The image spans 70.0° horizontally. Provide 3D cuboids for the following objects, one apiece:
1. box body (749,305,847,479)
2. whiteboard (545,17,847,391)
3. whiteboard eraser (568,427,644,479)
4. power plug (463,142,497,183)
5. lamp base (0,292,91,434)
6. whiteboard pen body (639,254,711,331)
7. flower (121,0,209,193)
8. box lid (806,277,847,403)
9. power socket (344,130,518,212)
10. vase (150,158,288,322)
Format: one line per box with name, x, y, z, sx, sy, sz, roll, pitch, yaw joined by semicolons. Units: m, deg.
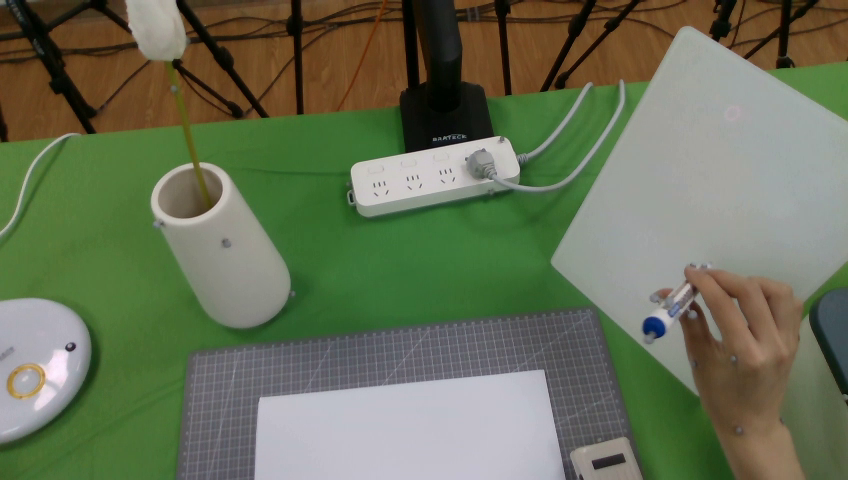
box body;0.468;0.217;0.493;0.254;0.162;0.360;-7;59;-3
whiteboard;0.296;-0.037;0.603;0.144;0.307;0.215;-25;59;-35
whiteboard eraser;0.177;0.234;0.556;0.056;0.042;0.111;-10;59;-7
power plug;0.066;-0.086;0.733;0.035;0.053;0.072;-3;60;0
lamp base;-0.451;0.082;0.581;0.178;0.182;0.160;22;61;17
whiteboard pen body;0.191;0.034;0.448;0.017;0.017;0.141;39;38;23
flower;-0.201;-0.054;0.552;0.038;0.365;0.043;-16;41;-16
box lid;0.467;0.176;0.430;0.263;0.015;0.368;-7;60;-3
power socket;0.011;-0.088;0.763;0.227;0.033;0.071;-11;60;-6
vase;-0.204;0.006;0.613;0.098;0.202;0.097;-1;58;2
